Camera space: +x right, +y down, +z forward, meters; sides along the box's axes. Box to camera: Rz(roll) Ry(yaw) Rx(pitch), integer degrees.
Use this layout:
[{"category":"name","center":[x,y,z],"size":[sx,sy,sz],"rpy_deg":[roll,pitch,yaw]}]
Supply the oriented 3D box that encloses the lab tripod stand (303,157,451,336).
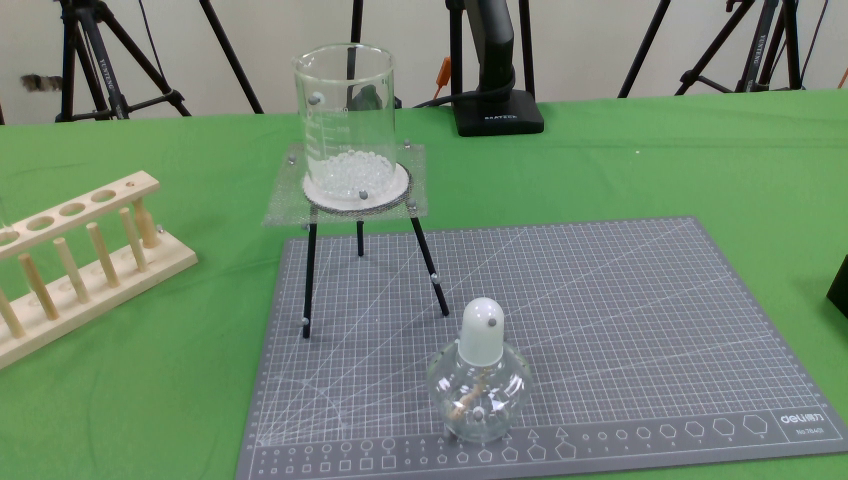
[{"category":"lab tripod stand","center":[-0.047,0.005,0.531],"size":[0.148,0.132,0.147],"rpy_deg":[0,36,0]}]

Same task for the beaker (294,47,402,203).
[{"category":"beaker","center":[-0.058,-0.086,0.462],"size":[0.083,0.101,0.074],"rpy_deg":[22,42,25]}]

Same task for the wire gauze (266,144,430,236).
[{"category":"wire gauze","center":[-0.057,-0.046,0.489],"size":[0.121,0.011,0.124],"rpy_deg":[-2,39,-1]}]

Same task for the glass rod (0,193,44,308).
[{"category":"glass rod","center":[-0.358,-0.024,0.515],"size":[0.008,0.201,0.008],"rpy_deg":[0,30,1]}]

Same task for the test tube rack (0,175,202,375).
[{"category":"test tube rack","center":[-0.335,0.035,0.546],"size":[0.066,0.086,0.242],"rpy_deg":[28,46,33]}]

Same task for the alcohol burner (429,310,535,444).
[{"category":"alcohol burner","center":[0.042,0.090,0.432],"size":[0.078,0.120,0.077],"rpy_deg":[0,39,1]}]

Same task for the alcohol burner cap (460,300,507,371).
[{"category":"alcohol burner cap","center":[0.042,0.062,0.410],"size":[0.034,0.048,0.033],"rpy_deg":[1,38,-1]}]
